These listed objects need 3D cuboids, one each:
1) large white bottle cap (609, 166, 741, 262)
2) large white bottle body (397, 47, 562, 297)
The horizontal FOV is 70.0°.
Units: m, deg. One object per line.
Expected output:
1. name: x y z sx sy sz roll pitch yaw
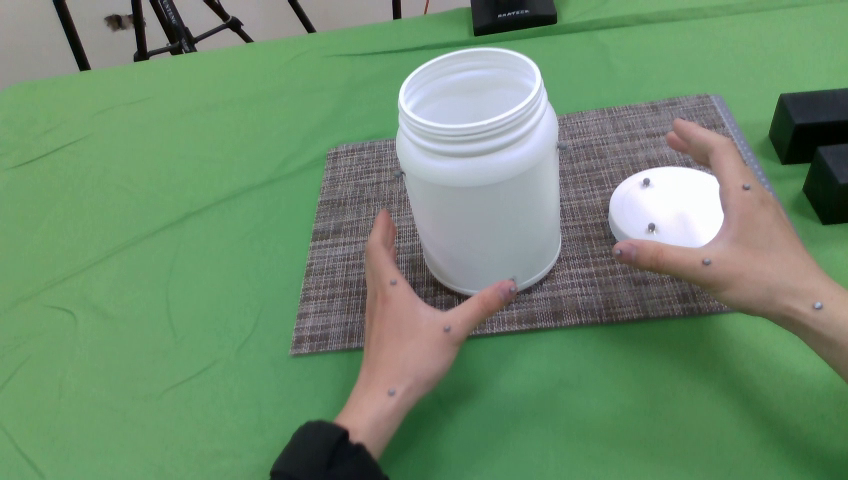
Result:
1. large white bottle cap: 0.232 -0.026 0.564 0.115 0.018 0.113 -7 46 8
2. large white bottle body: 0.050 -0.054 0.517 0.130 0.186 0.129 -7 45 7
